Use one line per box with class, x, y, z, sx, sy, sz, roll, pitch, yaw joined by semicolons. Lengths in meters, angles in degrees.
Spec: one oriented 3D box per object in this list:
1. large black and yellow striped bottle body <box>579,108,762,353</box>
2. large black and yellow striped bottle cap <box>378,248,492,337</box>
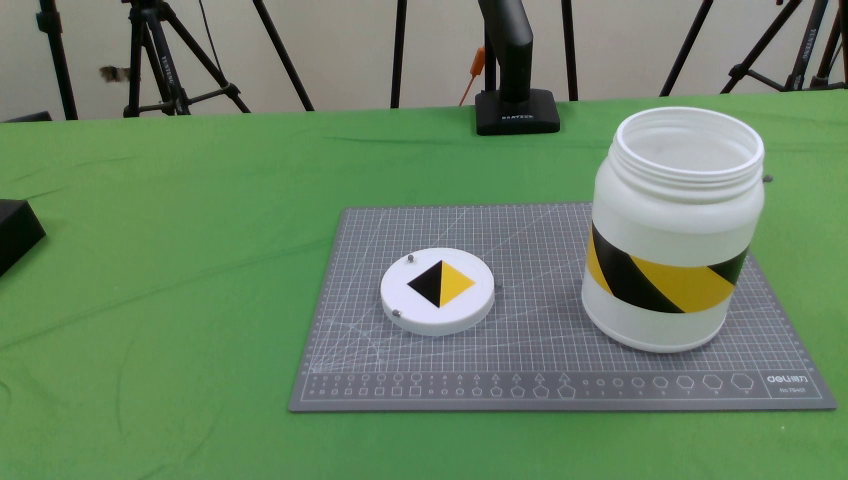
large black and yellow striped bottle body;0.209;-0.008;0.526;0.131;0.185;0.129;-3;38;3
large black and yellow striped bottle cap;0.011;0.049;0.609;0.115;0.019;0.114;-2;39;2
